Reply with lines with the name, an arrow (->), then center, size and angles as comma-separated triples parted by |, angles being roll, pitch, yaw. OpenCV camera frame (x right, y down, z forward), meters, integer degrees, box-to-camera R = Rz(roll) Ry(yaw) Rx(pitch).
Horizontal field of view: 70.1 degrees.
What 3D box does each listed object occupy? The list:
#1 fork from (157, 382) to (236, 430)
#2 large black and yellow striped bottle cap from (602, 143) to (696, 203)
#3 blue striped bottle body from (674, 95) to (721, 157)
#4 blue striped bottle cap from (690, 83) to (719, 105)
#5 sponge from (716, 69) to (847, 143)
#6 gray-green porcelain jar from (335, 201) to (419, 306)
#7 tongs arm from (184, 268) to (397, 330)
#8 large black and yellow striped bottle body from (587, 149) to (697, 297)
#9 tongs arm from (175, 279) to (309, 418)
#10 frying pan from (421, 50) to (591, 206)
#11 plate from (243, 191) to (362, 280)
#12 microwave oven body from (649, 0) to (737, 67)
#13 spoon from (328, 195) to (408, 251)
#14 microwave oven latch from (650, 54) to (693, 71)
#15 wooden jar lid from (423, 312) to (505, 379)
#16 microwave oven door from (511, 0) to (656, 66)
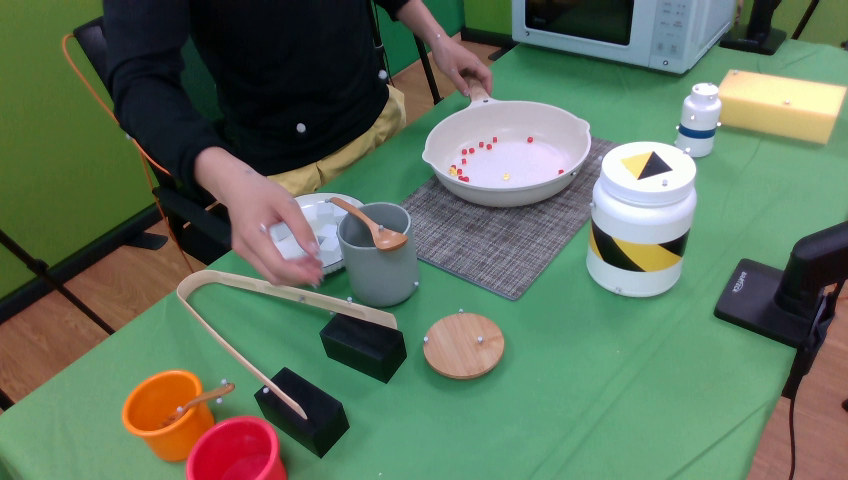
fork -> -0.262, 0.189, 0.690 | 0.018, 0.206, 0.028 | 48, 43, -8
large black and yellow striped bottle cap -> 0.289, -0.088, 0.779 | 0.115, 0.019, 0.114 | -5, 39, 4
blue striped bottle body -> 0.486, -0.213, 1.071 | 0.063, 0.121, 0.063 | -4, 41, 4
blue striped bottle cap -> 0.481, -0.251, 1.038 | 0.044, 0.021, 0.044 | -5, 39, 5
sponge -> 0.663, -0.256, 1.142 | 0.205, 0.061, 0.118 | 19, 47, 28
gray-green porcelain jar -> -0.064, 0.024, 0.872 | 0.106, 0.127, 0.105 | -4, 41, 4
tongs arm -> -0.203, 0.085, 0.847 | 0.382, 0.027, 0.051 | 11, 45, 35
large black and yellow striped bottle body -> 0.298, -0.026, 0.835 | 0.131, 0.185, 0.130 | -4, 41, 4
tongs arm -> -0.255, 0.132, 0.801 | 0.028, 0.028, 0.384 | -41, 40, -23
frying pan -> 0.127, -0.233, 1.155 | 0.307, 0.103, 0.484 | -11, 49, -5
plate -> -0.187, -0.005, 0.992 | 0.207, 0.039, 0.206 | -4, 40, 4
microwave oven body -> 0.475, -0.602, 1.411 | 0.438, 0.261, 0.327 | 23, 50, 32
spoon -> -0.083, -0.030, 0.829 | 0.042, 0.022, 0.192 | -31, 42, -22
microwave oven latch -> 0.531, -0.386, 1.301 | 0.078, 0.029, 0.030 | 26, 51, 33
wooden jar lid -> 0.053, 0.142, 0.801 | 0.108, 0.021, 0.108 | -4, 40, 4
microwave oven door -> 0.351, -0.539, 1.349 | 0.353, 0.245, 0.039 | 24, 50, 31
